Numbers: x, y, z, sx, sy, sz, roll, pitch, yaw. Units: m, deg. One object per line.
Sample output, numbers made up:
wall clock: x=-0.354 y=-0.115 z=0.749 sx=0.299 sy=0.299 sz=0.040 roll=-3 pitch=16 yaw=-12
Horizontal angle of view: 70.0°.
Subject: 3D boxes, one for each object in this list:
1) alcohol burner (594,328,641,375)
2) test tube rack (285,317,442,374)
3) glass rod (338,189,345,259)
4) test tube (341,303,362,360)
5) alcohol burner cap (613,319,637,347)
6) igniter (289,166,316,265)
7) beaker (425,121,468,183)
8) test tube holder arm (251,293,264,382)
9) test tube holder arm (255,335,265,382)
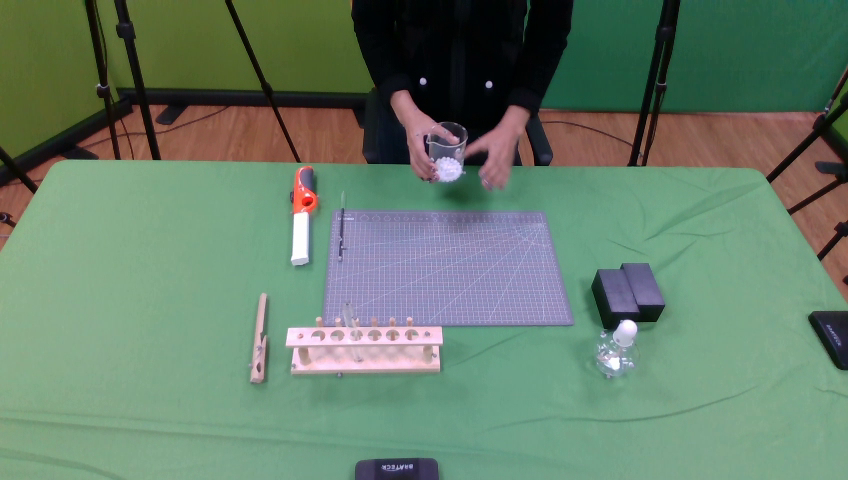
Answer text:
alcohol burner: x=0.322 y=0.170 z=0.994 sx=0.078 sy=0.119 sz=0.077 roll=3 pitch=48 yaw=-3
test tube rack: x=-0.095 y=0.166 z=0.988 sx=0.242 sy=0.085 sz=0.066 roll=0 pitch=46 yaw=-4
glass rod: x=-0.166 y=-0.037 z=1.227 sx=0.008 sy=0.008 sz=0.198 roll=-1 pitch=47 yaw=-4
test tube: x=-0.111 y=0.145 z=0.938 sx=0.017 sy=0.151 sz=0.017 roll=-1 pitch=50 yaw=2
alcohol burner cap: x=0.323 y=0.146 z=0.966 sx=0.034 sy=0.048 sz=0.033 roll=-1 pitch=52 yaw=2
igniter: x=-0.248 y=-0.058 z=1.233 sx=0.057 sy=0.025 sz=0.274 roll=-9 pitch=47 yaw=1
beaker: x=0.039 y=-0.167 z=1.176 sx=0.084 sy=0.101 sz=0.073 roll=-17 pitch=51 yaw=-17
test tube holder arm: x=-0.281 y=0.160 z=1.025 sx=0.013 sy=0.015 sz=0.177 roll=23 pitch=36 yaw=-32
test tube holder arm: x=-0.270 y=0.193 z=0.997 sx=0.010 sy=0.015 sz=0.087 roll=23 pitch=36 yaw=-32
